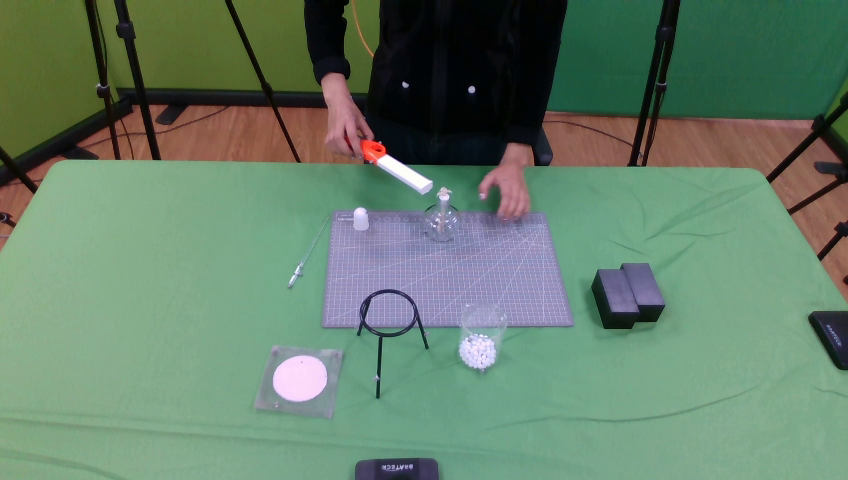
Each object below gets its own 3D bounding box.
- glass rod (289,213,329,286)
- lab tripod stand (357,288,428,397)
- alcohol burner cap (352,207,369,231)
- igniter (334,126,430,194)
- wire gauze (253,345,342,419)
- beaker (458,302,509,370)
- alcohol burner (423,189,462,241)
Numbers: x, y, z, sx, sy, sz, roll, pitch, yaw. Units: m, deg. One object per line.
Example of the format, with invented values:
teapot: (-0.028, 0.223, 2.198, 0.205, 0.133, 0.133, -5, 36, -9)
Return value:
glass rod: (-0.221, 0.014, 1.179, 0.008, 0.008, 0.199, 12, 46, 8)
lab tripod stand: (-0.058, 0.155, 0.967, 0.148, 0.132, 0.147, 3, 47, -3)
alcohol burner cap: (-0.127, -0.046, 1.215, 0.034, 0.048, 0.033, 3, 46, -3)
igniter: (-0.091, -0.164, 1.202, 0.057, 0.025, 0.275, -34, 51, -28)
wire gauze: (-0.200, 0.224, 0.979, 0.125, 0.011, 0.121, 7, 47, 0)
beaker: (0.092, 0.159, 0.999, 0.083, 0.101, 0.074, 35, 53, 28)
alcohol burner: (0.036, -0.055, 1.186, 0.078, 0.120, 0.077, 1, 48, -1)
